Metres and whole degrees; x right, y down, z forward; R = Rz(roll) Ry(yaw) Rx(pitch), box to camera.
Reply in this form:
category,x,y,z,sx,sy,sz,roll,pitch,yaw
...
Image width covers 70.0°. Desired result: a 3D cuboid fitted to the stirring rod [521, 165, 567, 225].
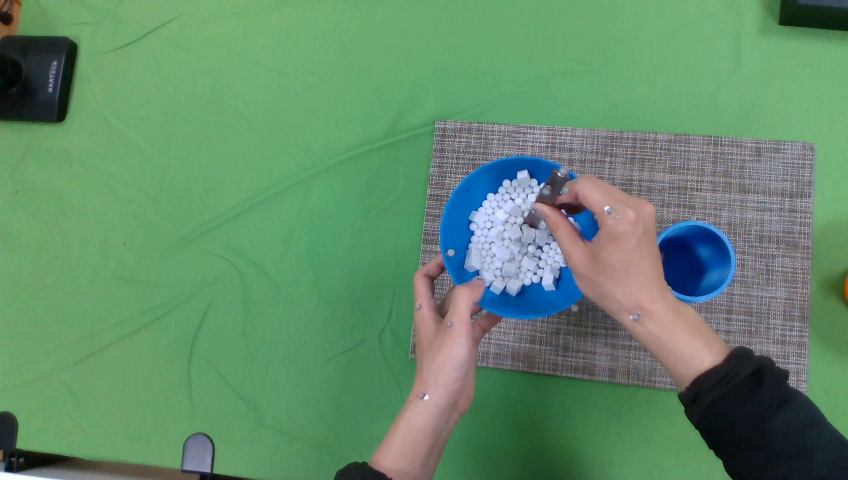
category,x,y,z,sx,sy,sz,roll,pitch,yaw
stirring rod,0.098,-0.034,0.510,0.014,0.177,0.006,23,82,6

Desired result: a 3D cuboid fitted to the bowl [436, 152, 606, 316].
category,x,y,z,sx,sy,sz,roll,pitch,yaw
bowl,0.088,0.000,0.576,0.151,0.077,0.151,0,81,2

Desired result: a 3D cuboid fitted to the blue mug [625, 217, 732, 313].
category,x,y,z,sx,sy,sz,roll,pitch,yaw
blue mug,0.263,0.036,0.659,0.082,0.106,0.116,44,90,11
